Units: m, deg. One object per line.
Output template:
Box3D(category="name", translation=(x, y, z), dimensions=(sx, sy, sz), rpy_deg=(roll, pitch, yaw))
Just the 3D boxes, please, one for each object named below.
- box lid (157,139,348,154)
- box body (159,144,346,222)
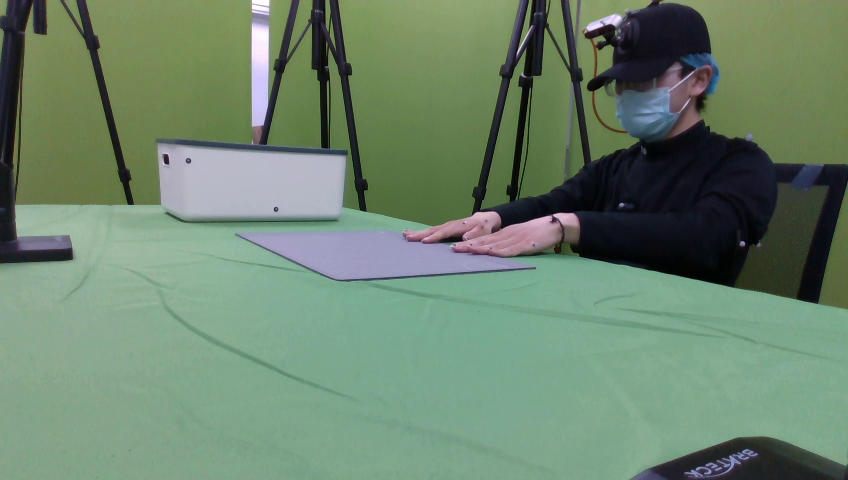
Box3D(category="box lid", translation=(-0.379, -0.206, 1.350), dimensions=(0.373, 0.015, 0.262), rpy_deg=(-2, 9, -33))
Box3D(category="box body", translation=(-0.385, -0.133, 1.359), dimensions=(0.366, 0.160, 0.253), rpy_deg=(-2, 9, -33))
